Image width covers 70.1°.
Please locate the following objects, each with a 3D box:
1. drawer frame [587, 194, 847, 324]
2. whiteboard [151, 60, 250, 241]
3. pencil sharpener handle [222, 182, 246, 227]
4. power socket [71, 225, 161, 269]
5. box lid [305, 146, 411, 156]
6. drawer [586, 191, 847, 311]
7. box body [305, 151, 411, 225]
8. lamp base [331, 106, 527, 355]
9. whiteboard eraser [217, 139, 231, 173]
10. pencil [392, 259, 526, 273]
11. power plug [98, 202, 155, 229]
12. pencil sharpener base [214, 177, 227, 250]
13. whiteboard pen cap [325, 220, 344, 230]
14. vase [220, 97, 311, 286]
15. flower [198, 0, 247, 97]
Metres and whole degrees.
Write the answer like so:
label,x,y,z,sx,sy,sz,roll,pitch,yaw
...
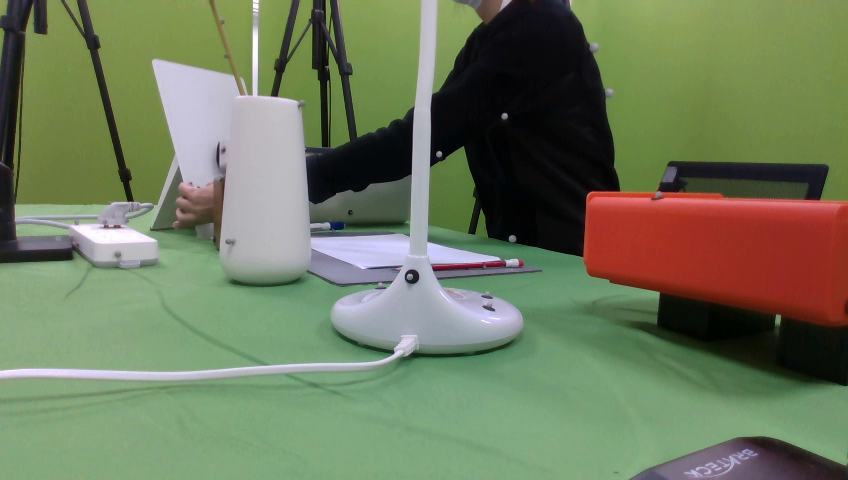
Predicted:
label,x,y,z,sx,sy,sz,roll,pitch,yaw
drawer frame,0.285,0.004,0.508,0.203,0.082,0.212,-1,6,-29
whiteboard,-0.408,-0.139,1.094,0.143,0.305,0.218,-15,0,26
pencil sharpener handle,-0.289,-0.055,0.912,0.036,0.067,0.030,-2,8,-29
power socket,-0.408,0.004,0.793,0.072,0.032,0.225,-2,8,-38
box lid,-0.229,-0.200,1.360,0.373,0.015,0.262,-3,9,-33
drawer,0.281,0.001,0.513,0.195,0.073,0.210,-1,8,-29
box body,-0.230,-0.126,1.371,0.366,0.160,0.253,-2,9,-33
lamp base,0.006,-0.012,0.478,0.161,0.180,0.179,2,10,2
whiteboard eraser,-0.317,-0.132,1.075,0.041,0.055,0.113,-20,-25,23
pencil,0.049,0.035,0.782,0.195,0.012,0.012,-2,9,-25
power plug,-0.416,-0.026,0.848,0.073,0.052,0.035,0,8,-28
pencil sharpener base,-0.265,-0.036,0.870,0.061,0.107,0.076,-2,8,-29
whiteboard pen cap,-0.166,-0.027,1.124,0.018,0.018,0.033,9,11,40
vase,-0.172,-0.052,0.662,0.098,0.200,0.098,3,9,0
flower,-0.187,-0.133,0.648,0.038,0.362,0.044,-1,21,43
